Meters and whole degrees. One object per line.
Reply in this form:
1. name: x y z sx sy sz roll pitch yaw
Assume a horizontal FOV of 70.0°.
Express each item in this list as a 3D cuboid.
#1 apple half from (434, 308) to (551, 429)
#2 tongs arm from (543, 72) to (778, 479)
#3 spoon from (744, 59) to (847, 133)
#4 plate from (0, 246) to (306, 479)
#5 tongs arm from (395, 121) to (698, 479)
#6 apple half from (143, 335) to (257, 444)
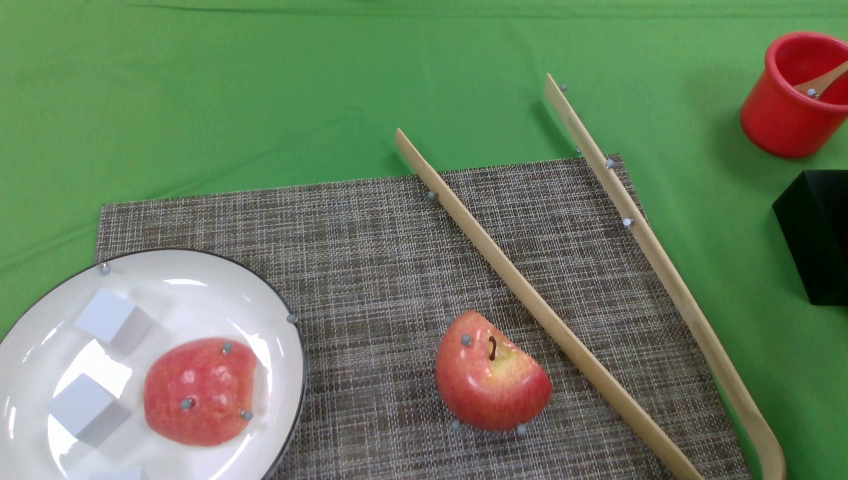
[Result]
1. apple half: 0.037 0.093 0.402 0.080 0.075 0.053 41 69 16
2. tongs arm: 0.163 0.010 0.484 0.051 0.027 0.381 -16 62 -14
3. spoon: 0.380 -0.156 0.534 0.194 0.022 0.041 -36 52 28
4. plate: -0.182 0.101 0.405 0.209 0.038 0.207 2 58 -2
5. tongs arm: 0.088 0.040 0.463 0.028 0.028 0.384 -28 65 -23
6. apple half: -0.152 0.095 0.405 0.081 0.033 0.080 3 59 -5
